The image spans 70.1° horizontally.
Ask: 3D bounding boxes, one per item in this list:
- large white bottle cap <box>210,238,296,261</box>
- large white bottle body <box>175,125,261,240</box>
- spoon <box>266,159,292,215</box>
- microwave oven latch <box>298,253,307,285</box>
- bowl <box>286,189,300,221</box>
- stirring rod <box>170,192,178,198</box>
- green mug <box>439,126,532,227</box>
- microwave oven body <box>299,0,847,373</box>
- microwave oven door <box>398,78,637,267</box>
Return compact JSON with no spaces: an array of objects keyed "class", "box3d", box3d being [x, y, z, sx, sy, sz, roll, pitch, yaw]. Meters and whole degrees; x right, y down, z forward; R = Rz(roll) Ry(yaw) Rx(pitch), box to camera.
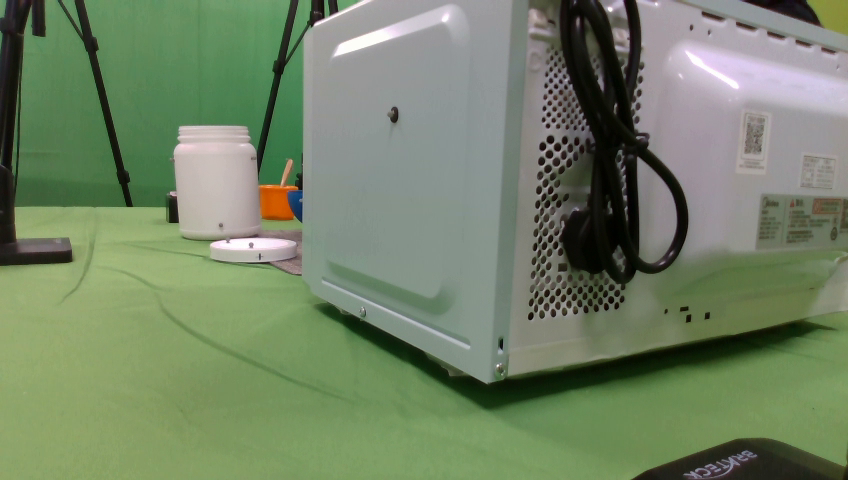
[{"class":"large white bottle cap","box3d":[-0.236,0.013,0.839,0.115,0.018,0.115,2,7,0]},{"class":"large white bottle body","box3d":[-0.349,-0.100,1.025,0.131,0.184,0.130,-1,9,0]},{"class":"spoon","box3d":[-0.334,-0.127,1.423,0.041,0.193,0.022,0,-38,7]},{"class":"microwave oven latch","box3d":[-0.081,0.027,0.582,0.079,0.029,0.030,-1,7,-32]},{"class":"bowl","box3d":[-0.179,-0.051,1.115,0.151,0.077,0.151,3,8,0]},{"class":"stirring rod","box3d":[-0.466,-0.098,1.283,0.014,0.006,0.177,42,21,17]},{"class":"green mug","box3d":[0.062,-0.071,0.679,0.093,0.105,0.124,-5,8,-42]},{"class":"microwave oven body","box3d":[0.151,-0.055,0.543,0.444,0.260,0.324,-2,7,-33]},{"class":"microwave oven door","box3d":[0.117,-0.103,0.874,0.354,0.243,0.039,7,9,35]}]
